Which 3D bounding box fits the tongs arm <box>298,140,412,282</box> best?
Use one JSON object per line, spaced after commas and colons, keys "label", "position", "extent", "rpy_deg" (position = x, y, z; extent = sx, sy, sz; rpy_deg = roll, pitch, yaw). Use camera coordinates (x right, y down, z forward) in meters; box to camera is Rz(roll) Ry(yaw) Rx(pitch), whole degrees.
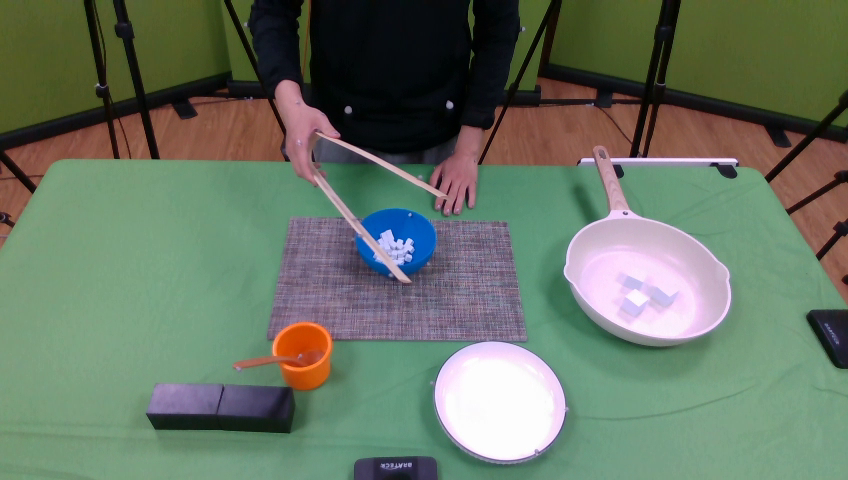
{"label": "tongs arm", "position": [-0.120, -0.060, 0.988], "extent": [0.026, 0.051, 0.382], "rpy_deg": [9, 25, -44]}

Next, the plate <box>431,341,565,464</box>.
{"label": "plate", "position": [0.114, 0.255, 0.952], "extent": [0.208, 0.039, 0.206], "rpy_deg": [3, 46, -2]}

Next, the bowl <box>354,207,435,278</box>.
{"label": "bowl", "position": [-0.055, 0.018, 1.132], "extent": [0.151, 0.077, 0.150], "rpy_deg": [2, 46, -2]}

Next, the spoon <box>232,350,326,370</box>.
{"label": "spoon", "position": [-0.216, 0.182, 0.920], "extent": [0.041, 0.194, 0.021], "rpy_deg": [43, 102, 27]}

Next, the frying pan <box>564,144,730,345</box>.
{"label": "frying pan", "position": [0.396, -0.008, 1.179], "extent": [0.307, 0.103, 0.484], "rpy_deg": [0, 55, -5]}

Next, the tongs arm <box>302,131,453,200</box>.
{"label": "tongs arm", "position": [-0.088, -0.124, 0.969], "extent": [0.028, 0.028, 0.385], "rpy_deg": [5, 17, -43]}
